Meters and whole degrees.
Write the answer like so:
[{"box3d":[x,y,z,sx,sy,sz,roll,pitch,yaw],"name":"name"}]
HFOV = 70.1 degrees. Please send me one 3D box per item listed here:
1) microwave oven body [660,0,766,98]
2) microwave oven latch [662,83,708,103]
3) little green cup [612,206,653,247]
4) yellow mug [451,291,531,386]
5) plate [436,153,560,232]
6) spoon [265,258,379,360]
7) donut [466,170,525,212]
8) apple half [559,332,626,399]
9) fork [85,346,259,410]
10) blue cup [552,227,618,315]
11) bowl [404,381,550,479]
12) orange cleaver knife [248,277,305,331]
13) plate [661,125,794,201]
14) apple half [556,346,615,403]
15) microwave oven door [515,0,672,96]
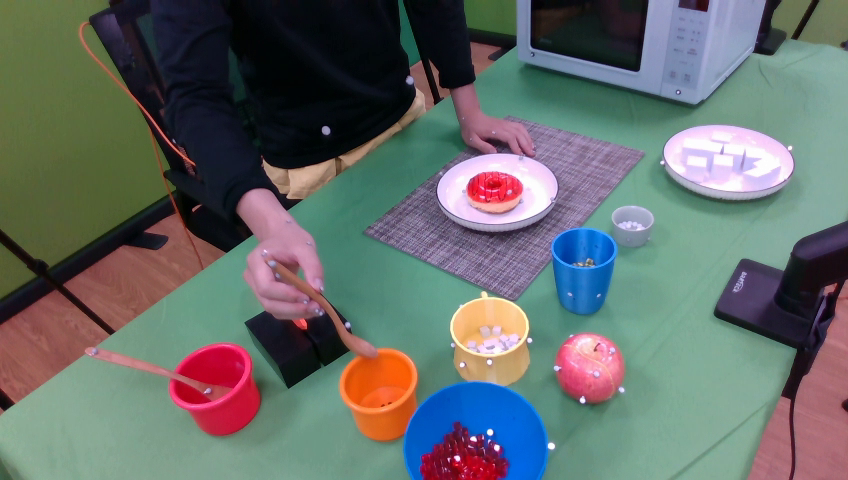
[{"box3d":[0.473,-0.513,1.317,0.438,0.261,0.327,26,51,34],"name":"microwave oven body"},{"box3d":[0.518,-0.297,1.205,0.078,0.029,0.030,29,53,36],"name":"microwave oven latch"},{"box3d":[0.321,-0.019,0.936,0.061,0.039,0.061,-4,40,4],"name":"little green cup"},{"box3d":[0.086,0.120,0.786,0.100,0.064,0.130,-7,39,1],"name":"yellow mug"},{"box3d":[0.125,-0.078,1.029,0.209,0.038,0.208,-4,40,4],"name":"plate"},{"box3d":[-0.104,0.075,0.641,0.021,0.195,0.041,-40,40,-7],"name":"spoon"},{"box3d":[0.121,-0.083,1.019,0.099,0.048,0.098,-4,38,3],"name":"donut"},{"box3d":[0.209,0.147,0.730,0.080,0.075,0.053,26,48,38],"name":"apple half"},{"box3d":[-0.298,0.166,0.728,0.209,0.018,0.028,28,47,-23],"name":"fork"},{"box3d":[0.218,0.047,0.825,0.092,0.101,0.092,-6,39,5],"name":"blue cup"},{"box3d":[0.058,0.235,0.645,0.151,0.077,0.150,-4,39,4],"name":"bowl"},{"box3d":[-0.210,0.089,0.855,0.012,0.077,0.210,-29,15,-25],"name":"orange cleaver knife"},{"box3d":[0.513,-0.128,1.035,0.207,0.039,0.206,-4,40,4],"name":"plate"},{"box3d":[0.181,0.167,0.709,0.080,0.081,0.033,29,52,35],"name":"apple half"},{"box3d":[0.344,-0.455,1.259,0.353,0.245,0.039,26,51,33],"name":"microwave oven door"}]
